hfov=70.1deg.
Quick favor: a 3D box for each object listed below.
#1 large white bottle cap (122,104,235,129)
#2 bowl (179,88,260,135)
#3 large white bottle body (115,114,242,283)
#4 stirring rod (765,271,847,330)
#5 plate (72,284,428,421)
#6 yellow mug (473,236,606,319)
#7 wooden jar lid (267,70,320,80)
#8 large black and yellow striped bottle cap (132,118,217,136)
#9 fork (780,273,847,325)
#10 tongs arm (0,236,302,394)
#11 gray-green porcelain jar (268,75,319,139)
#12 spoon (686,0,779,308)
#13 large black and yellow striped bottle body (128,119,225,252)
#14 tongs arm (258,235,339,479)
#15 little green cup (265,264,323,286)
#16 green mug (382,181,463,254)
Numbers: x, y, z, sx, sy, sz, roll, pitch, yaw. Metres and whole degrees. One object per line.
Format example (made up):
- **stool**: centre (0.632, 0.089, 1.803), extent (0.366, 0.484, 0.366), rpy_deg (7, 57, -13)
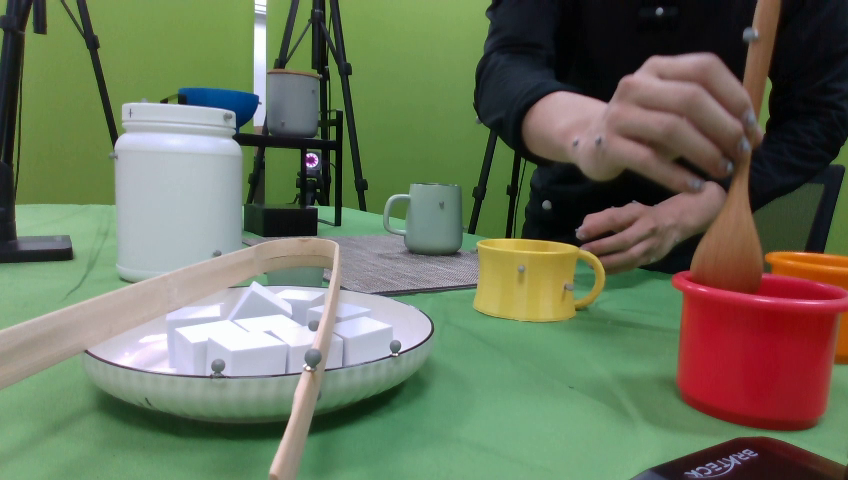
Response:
- **large white bottle cap**: centre (-0.266, -0.135, 0.663), extent (0.115, 0.018, 0.115), rpy_deg (3, 7, 0)
- **bowl**: centre (-0.400, -0.248, 1.188), extent (0.151, 0.077, 0.151), rpy_deg (3, 6, 0)
- **large white bottle body**: centre (-0.270, -0.051, 0.673), extent (0.131, 0.184, 0.130), rpy_deg (2, 8, 0)
- **stirring rod**: centre (0.352, 0.020, 0.481), extent (0.176, 0.006, 0.014), rpy_deg (-40, -7, 17)
- **plate**: centre (-0.102, 0.067, 0.381), extent (0.208, 0.039, 0.207), rpy_deg (3, 7, 0)
- **yellow mug**: centre (0.114, 0.034, 0.590), extent (0.131, 0.064, 0.100), rpy_deg (2, 6, -7)
- **wooden jar lid**: centre (-0.275, -0.339, 1.271), extent (0.108, 0.020, 0.108), rpy_deg (5, 6, 0)
- **large black and yellow striped bottle cap**: centre (-0.359, -0.164, 0.875), extent (0.115, 0.019, 0.115), rpy_deg (2, 6, 0)
- **fork**: centre (0.332, 0.018, 0.443), extent (0.028, 0.018, 0.207), rpy_deg (-2, -35, -16)
- **tongs arm**: centre (-0.157, 0.038, 0.347), extent (0.028, 0.028, 0.388), rpy_deg (-3, 8, 11)
- **gray-green porcelain jar**: centre (-0.277, -0.278, 1.280), extent (0.106, 0.126, 0.106), rpy_deg (2, 8, 0)
- **spoon**: centre (0.192, -0.051, 0.369), extent (0.041, 0.193, 0.022), rpy_deg (8, 6, 26)
- **large black and yellow striped bottle body**: centre (-0.361, -0.081, 0.887), extent (0.131, 0.184, 0.130), rpy_deg (2, 8, 0)
- **tongs arm**: centre (-0.074, 0.040, 0.345), extent (0.051, 0.026, 0.384), rpy_deg (-2, 10, -3)
- **little green cup**: centre (-0.134, 0.033, 0.628), extent (0.061, 0.038, 0.061), rpy_deg (3, 7, 0)
- **green mug**: centre (-0.001, -0.036, 0.922), extent (0.126, 0.105, 0.092), rpy_deg (0, 8, -16)
